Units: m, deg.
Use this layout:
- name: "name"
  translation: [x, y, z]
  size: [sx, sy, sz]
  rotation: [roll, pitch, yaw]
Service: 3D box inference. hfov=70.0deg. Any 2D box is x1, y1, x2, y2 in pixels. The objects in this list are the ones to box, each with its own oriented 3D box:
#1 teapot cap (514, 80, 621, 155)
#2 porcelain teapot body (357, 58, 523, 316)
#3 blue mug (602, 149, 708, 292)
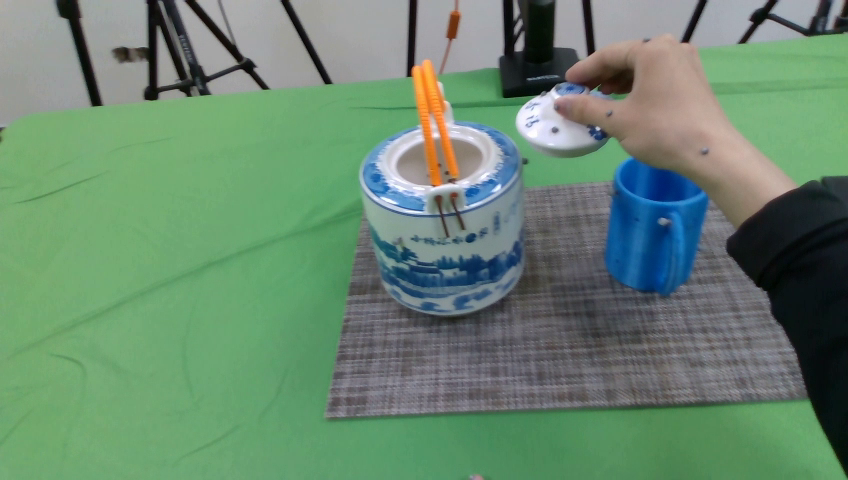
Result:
- name: "teapot cap"
  translation: [0.115, -0.104, 0.484]
  size: [0.085, 0.044, 0.084]
  rotation: [-3, 42, 3]
- name: "porcelain teapot body"
  translation: [0.012, -0.066, 0.565]
  size: [0.145, 0.227, 0.203]
  rotation: [-9, 41, 0]
- name: "blue mug"
  translation: [0.213, -0.009, 0.556]
  size: [0.082, 0.107, 0.115]
  rotation: [-4, 42, 6]
